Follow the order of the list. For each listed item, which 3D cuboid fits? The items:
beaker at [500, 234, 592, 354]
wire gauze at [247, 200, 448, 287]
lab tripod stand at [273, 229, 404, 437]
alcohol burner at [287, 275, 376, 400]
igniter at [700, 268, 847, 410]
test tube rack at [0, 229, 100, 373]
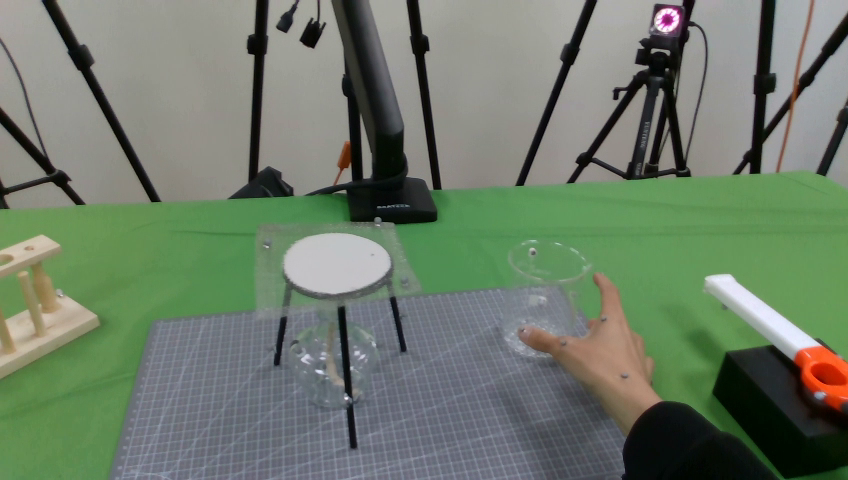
[{"bbox_3d":[0.115,0.055,0.593,0.084,0.101,0.073,0,32,-5],"label":"beaker"},{"bbox_3d":[-0.062,0.001,0.475,0.125,0.011,0.120,-10,29,-33],"label":"wire gauze"},{"bbox_3d":[-0.070,0.070,0.521,0.148,0.132,0.147,3,32,-2],"label":"lab tripod stand"},{"bbox_3d":[-0.080,0.080,0.524,0.078,0.120,0.077,3,31,-2],"label":"alcohol burner"},{"bbox_3d":[0.334,0.100,0.520,0.057,0.025,0.273,-6,29,-12],"label":"igniter"},{"bbox_3d":[-0.423,0.084,0.523,0.066,0.086,0.242,21,36,28],"label":"test tube rack"}]
